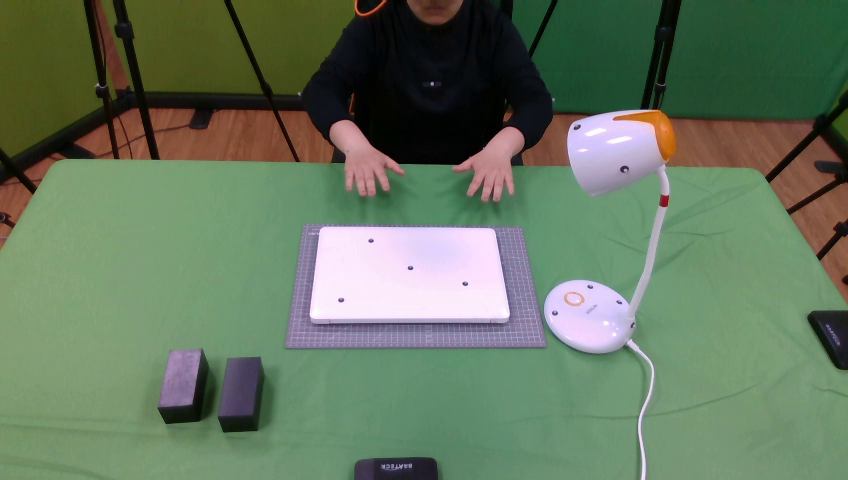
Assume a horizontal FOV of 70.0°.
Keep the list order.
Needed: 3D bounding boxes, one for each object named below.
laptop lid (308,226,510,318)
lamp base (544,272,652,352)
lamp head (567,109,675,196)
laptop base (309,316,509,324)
[{"bbox_3d":[-0.028,0.054,1.129,0.357,0.013,0.240,2,44,-3],"label":"laptop lid"},{"bbox_3d":[0.310,0.086,1.029,0.178,0.181,0.160,32,52,21],"label":"lamp base"},{"bbox_3d":[0.272,-0.123,0.817,0.122,0.113,0.112,-9,35,37],"label":"lamp head"},{"bbox_3d":[-0.028,0.064,1.136,0.355,0.023,0.234,0,43,-4],"label":"laptop base"}]
